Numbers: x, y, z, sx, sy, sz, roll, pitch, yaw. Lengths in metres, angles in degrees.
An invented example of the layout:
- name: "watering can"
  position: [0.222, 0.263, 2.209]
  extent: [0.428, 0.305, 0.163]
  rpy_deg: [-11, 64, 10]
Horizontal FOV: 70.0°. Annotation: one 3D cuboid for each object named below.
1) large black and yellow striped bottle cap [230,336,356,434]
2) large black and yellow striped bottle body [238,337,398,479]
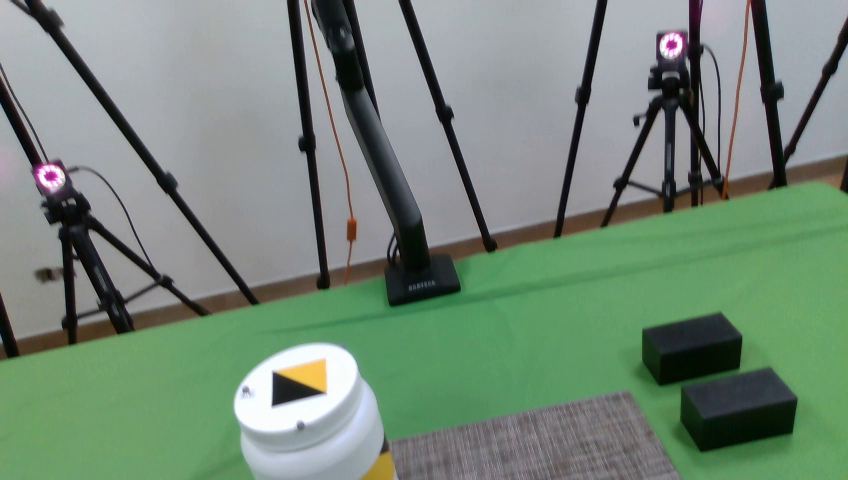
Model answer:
- name: "large black and yellow striped bottle cap"
  position: [-0.120, 0.130, 0.558]
  extent: [0.115, 0.019, 0.114]
  rpy_deg: [-8, 28, 5]
- name: "large black and yellow striped bottle body"
  position: [-0.104, 0.201, 0.600]
  extent: [0.131, 0.185, 0.129]
  rpy_deg: [-9, 30, 5]
